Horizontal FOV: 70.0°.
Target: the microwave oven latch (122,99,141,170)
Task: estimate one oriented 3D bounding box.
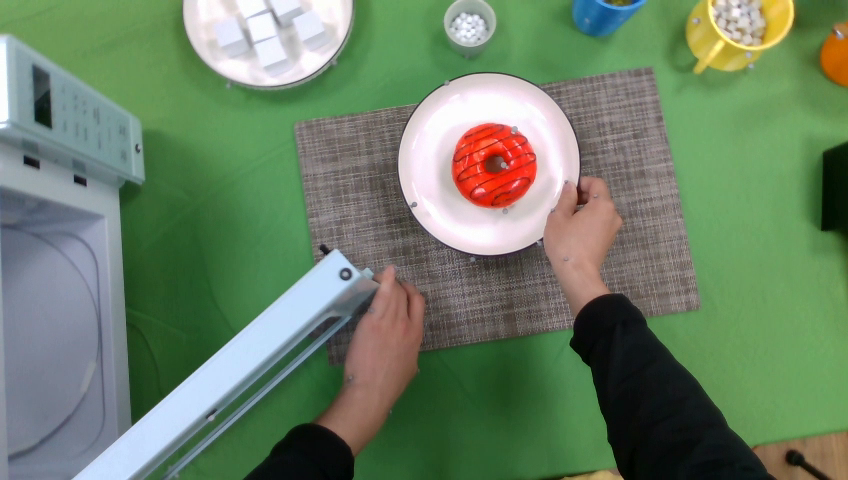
[{"bbox_3d":[-0.351,-0.123,0.710,0.030,0.029,0.079,-4,86,-1],"label":"microwave oven latch"}]

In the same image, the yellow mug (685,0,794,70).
[{"bbox_3d":[0.366,-0.257,0.725,0.100,0.064,0.131,39,87,3],"label":"yellow mug"}]

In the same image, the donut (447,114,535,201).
[{"bbox_3d":[0.074,-0.093,0.680,0.099,0.048,0.099,0,90,3],"label":"donut"}]

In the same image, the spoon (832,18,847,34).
[{"bbox_3d":[0.490,-0.229,0.682,0.021,0.195,0.041,-16,82,44],"label":"spoon"}]

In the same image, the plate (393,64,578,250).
[{"bbox_3d":[0.069,-0.093,0.691,0.209,0.038,0.209,0,89,0],"label":"plate"}]

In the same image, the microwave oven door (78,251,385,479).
[{"bbox_3d":[-0.190,0.141,0.585,0.355,0.244,0.039,-42,85,-3],"label":"microwave oven door"}]

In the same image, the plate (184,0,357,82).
[{"bbox_3d":[-0.184,-0.291,0.743,0.208,0.039,0.207,0,85,0],"label":"plate"}]

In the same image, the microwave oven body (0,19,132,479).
[{"bbox_3d":[-0.482,0.057,0.598,0.326,0.260,0.440,-6,86,-1],"label":"microwave oven body"}]

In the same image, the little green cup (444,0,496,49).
[{"bbox_3d":[0.055,-0.266,0.741,0.061,0.039,0.061,0,84,0],"label":"little green cup"}]

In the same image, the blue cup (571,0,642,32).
[{"bbox_3d":[0.215,-0.294,0.711,0.092,0.100,0.092,0,86,0],"label":"blue cup"}]
